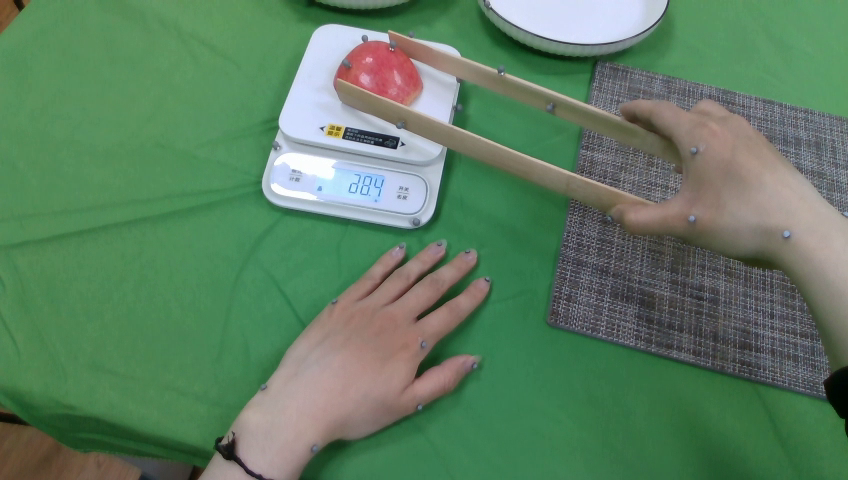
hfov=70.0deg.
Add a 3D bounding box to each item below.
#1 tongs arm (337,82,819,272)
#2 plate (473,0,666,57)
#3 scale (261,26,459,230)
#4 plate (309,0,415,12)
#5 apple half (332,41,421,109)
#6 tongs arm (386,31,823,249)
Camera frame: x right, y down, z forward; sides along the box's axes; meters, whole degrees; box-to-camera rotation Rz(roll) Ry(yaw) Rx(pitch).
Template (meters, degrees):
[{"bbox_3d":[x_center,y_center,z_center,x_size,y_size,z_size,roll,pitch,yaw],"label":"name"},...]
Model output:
[{"bbox_3d":[0.094,-0.056,0.471,0.385,0.028,0.028,24,58,17],"label":"tongs arm"},{"bbox_3d":[0.150,-0.265,0.647,0.209,0.038,0.207,2,59,-3],"label":"plate"},{"bbox_3d":[-0.051,-0.107,0.545,0.148,0.032,0.199,10,60,3],"label":"scale"},{"bbox_3d":[-0.068,-0.318,0.663,0.208,0.039,0.206,2,60,-2],"label":"plate"},{"bbox_3d":[-0.040,-0.150,0.536,0.081,0.033,0.080,1,60,-2],"label":"apple half"},{"bbox_3d":[0.119,-0.089,0.490,0.382,0.027,0.050,26,62,18],"label":"tongs arm"}]
